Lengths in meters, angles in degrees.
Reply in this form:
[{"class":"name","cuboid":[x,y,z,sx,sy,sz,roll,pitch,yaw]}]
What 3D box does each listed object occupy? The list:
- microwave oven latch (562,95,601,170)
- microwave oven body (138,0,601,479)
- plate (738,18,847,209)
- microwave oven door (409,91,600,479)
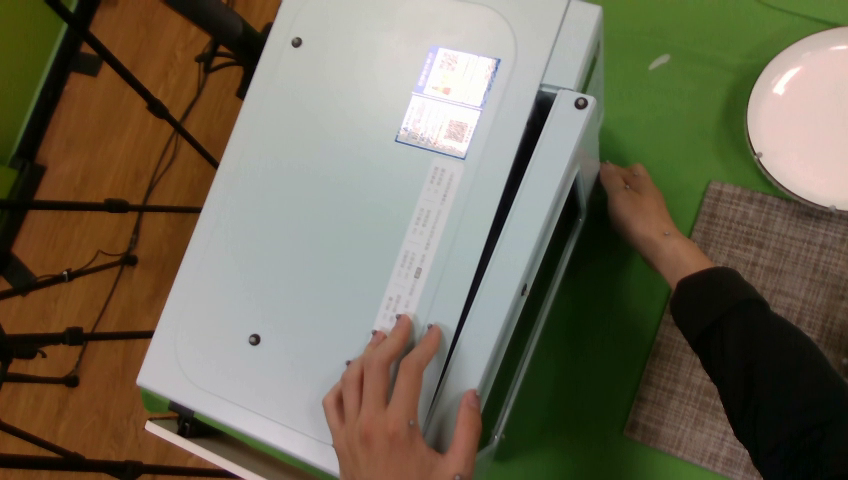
[{"class":"microwave oven latch","cuboid":[0.182,-0.123,0.699,0.030,0.030,0.079,18,86,18]},{"class":"microwave oven body","cuboid":[-0.037,-0.016,0.642,0.324,0.262,0.441,17,86,18]},{"class":"plate","cuboid":[0.445,-0.131,0.642,0.207,0.039,0.207,-3,79,16]},{"class":"microwave oven door","cuboid":[0.088,0.066,0.584,0.039,0.245,0.355,21,86,20]}]
